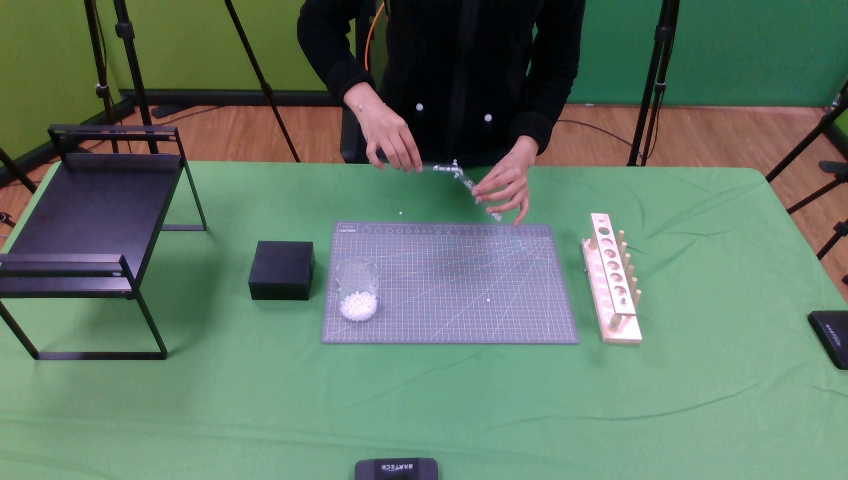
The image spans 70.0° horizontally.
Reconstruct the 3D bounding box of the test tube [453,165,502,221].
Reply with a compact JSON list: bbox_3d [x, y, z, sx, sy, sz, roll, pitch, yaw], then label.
[{"bbox_3d":[0.101,-0.084,1.119,0.017,0.151,0.017,-28,38,24],"label":"test tube"}]

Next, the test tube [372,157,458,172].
[{"bbox_3d":[-0.016,-0.133,1.068,0.150,0.017,0.017,3,46,-6],"label":"test tube"}]

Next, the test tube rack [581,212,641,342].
[{"bbox_3d":[0.351,0.064,1.120,0.067,0.085,0.241,3,46,-1],"label":"test tube rack"}]

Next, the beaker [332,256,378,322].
[{"bbox_3d":[-0.114,0.089,1.047,0.083,0.101,0.074,30,51,21],"label":"beaker"}]
